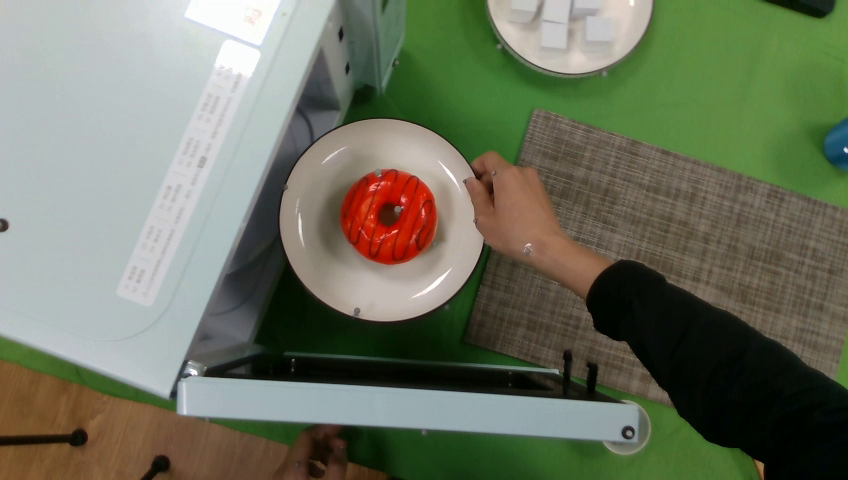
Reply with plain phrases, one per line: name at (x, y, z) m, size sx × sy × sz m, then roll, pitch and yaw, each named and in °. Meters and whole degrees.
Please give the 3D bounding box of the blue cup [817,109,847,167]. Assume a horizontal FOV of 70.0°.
blue cup at (0.532, -0.127, 0.723) m, size 0.093 × 0.100 × 0.092 m, roll 0°, pitch 86°, yaw -3°

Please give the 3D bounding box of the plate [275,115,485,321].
plate at (-0.044, -0.022, 0.617) m, size 0.209 × 0.038 × 0.208 m, roll 0°, pitch 86°, yaw -4°

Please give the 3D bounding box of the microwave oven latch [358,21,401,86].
microwave oven latch at (-0.052, -0.225, 0.712) m, size 0.030 × 0.029 × 0.079 m, roll 25°, pitch 85°, yaw -1°

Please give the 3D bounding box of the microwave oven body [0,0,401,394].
microwave oven body at (-0.248, -0.121, 0.595) m, size 0.326 × 0.260 × 0.441 m, roll 21°, pitch 85°, yaw -1°

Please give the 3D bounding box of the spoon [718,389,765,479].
spoon at (0.389, 0.268, 0.716) m, size 0.042 × 0.021 × 0.193 m, roll -18°, pitch 87°, yaw -22°

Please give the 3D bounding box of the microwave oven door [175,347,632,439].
microwave oven door at (-0.017, 0.140, 0.579) m, size 0.356 × 0.244 × 0.039 m, roll 4°, pitch 83°, yaw -3°

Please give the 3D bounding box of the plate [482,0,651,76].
plate at (0.172, -0.300, 0.750) m, size 0.208 × 0.039 × 0.207 m, roll 0°, pitch 85°, yaw -3°

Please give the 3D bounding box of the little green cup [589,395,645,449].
little green cup at (0.221, 0.210, 0.707) m, size 0.061 × 0.039 × 0.061 m, roll 0°, pitch 83°, yaw -2°

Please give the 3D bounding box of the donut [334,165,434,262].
donut at (-0.039, -0.026, 0.605) m, size 0.099 × 0.048 × 0.099 m, roll 0°, pitch 86°, yaw -4°
